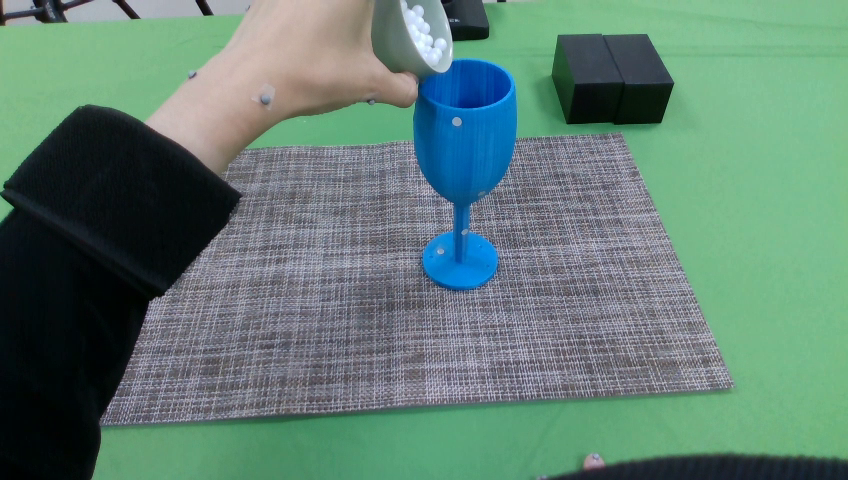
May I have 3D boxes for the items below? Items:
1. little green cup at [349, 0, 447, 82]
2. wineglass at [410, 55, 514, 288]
[{"bbox_3d":[-0.016,-0.129,0.377,0.038,0.062,0.061,-11,41,29],"label":"little green cup"},{"bbox_3d":[0.027,-0.043,0.451,0.074,0.174,0.073,-1,47,1],"label":"wineglass"}]
